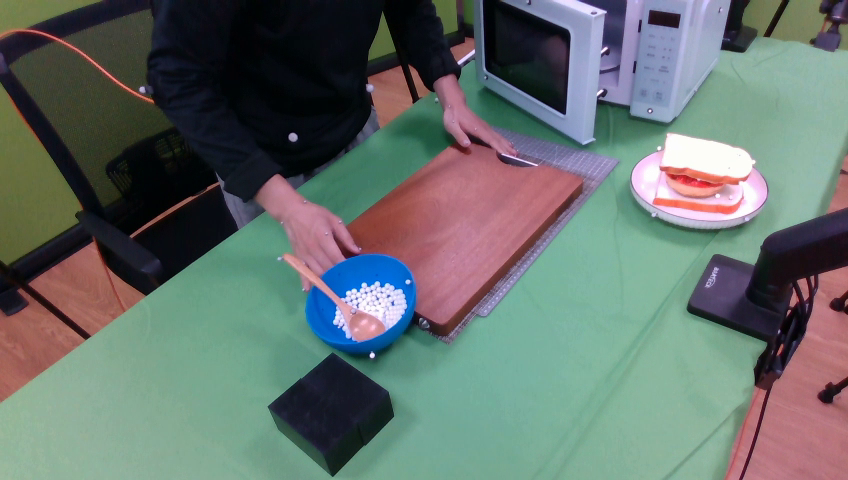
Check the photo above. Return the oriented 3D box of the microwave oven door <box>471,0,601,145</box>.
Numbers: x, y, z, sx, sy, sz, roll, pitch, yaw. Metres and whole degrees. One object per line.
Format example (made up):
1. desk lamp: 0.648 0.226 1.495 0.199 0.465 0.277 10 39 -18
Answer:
1. microwave oven door: 0.206 -0.361 1.166 0.039 0.245 0.352 -25 44 -20

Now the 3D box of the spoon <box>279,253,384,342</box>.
1. spoon: -0.127 0.074 0.807 0.193 0.022 0.042 40 68 17

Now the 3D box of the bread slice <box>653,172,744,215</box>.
1. bread slice: 0.452 -0.084 0.992 0.131 0.019 0.105 11 45 21

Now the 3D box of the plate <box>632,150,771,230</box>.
1. plate: 0.447 -0.081 0.988 0.207 0.039 0.206 -4 40 4

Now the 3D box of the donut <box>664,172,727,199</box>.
1. donut: 0.438 -0.104 0.972 0.099 0.048 0.098 -8 42 8

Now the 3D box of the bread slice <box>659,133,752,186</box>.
1. bread slice: 0.442 -0.125 0.951 0.134 0.018 0.107 13 43 15

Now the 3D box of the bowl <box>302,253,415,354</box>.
1. bowl: -0.078 0.099 0.813 0.151 0.077 0.150 -8 46 9

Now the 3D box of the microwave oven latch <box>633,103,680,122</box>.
1. microwave oven latch: 0.443 -0.249 1.157 0.078 0.029 0.030 22 49 30

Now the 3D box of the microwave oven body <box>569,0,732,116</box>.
1. microwave oven body: 0.377 -0.462 1.267 0.438 0.261 0.327 21 49 30
